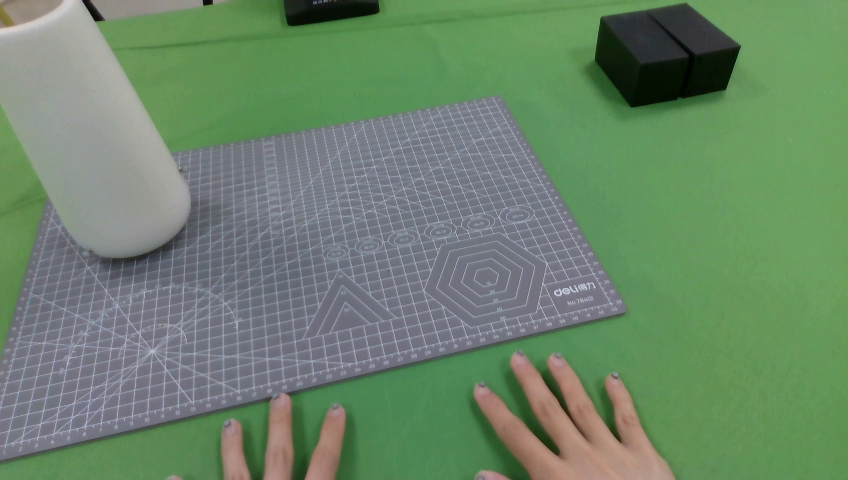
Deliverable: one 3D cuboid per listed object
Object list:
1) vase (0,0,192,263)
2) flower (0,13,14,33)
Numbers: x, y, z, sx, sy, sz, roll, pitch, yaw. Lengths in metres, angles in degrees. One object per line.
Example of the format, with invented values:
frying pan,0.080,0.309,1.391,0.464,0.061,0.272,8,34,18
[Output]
vase,-0.249,-0.076,0.455,0.098,0.202,0.097,-2,45,2
flower,-0.271,-0.136,0.400,0.044,0.365,0.038,-40,40,-22
